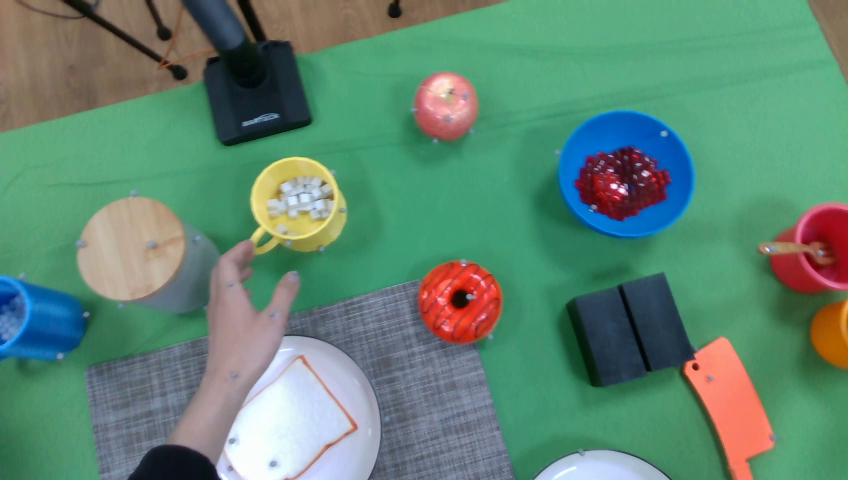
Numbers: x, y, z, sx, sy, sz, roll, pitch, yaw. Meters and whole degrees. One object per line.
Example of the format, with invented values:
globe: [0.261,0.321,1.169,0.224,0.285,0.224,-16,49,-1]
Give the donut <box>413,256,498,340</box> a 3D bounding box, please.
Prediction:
donut: [0.036,0.066,0.699,0.099,0.048,0.098,0,77,0]

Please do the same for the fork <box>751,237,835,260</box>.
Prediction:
fork: [0.405,0.007,0.660,0.209,0.018,0.028,3,72,-42]

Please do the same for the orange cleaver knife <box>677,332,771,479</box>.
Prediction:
orange cleaver knife: [0.349,0.210,0.679,0.077,0.012,0.210,-13,76,-8]

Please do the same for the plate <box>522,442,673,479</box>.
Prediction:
plate: [0.186,0.322,0.645,0.209,0.038,0.208,0,77,1]

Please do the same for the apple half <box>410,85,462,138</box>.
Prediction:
apple half: [0.008,-0.146,0.736,0.081,0.081,0.033,40,75,10]

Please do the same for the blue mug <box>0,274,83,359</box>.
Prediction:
blue mug: [-0.461,0.098,0.671,0.116,0.106,0.082,-40,79,-8]

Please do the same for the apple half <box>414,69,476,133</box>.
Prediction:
apple half: [0.032,-0.175,0.744,0.080,0.075,0.053,40,75,13]

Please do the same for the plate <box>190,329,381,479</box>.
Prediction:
plate: [-0.150,0.205,0.673,0.208,0.039,0.206,0,77,1]

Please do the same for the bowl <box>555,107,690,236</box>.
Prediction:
bowl: [0.223,-0.070,0.715,0.151,0.077,0.150,0,77,1]

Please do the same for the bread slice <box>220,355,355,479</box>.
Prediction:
bread slice: [-0.158,0.209,0.674,0.131,0.019,0.104,-41,79,-9]

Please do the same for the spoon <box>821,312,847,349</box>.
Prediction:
spoon: [0.517,0.080,0.623,0.022,0.193,0.041,15,64,-32]

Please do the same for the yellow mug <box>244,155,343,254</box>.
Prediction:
yellow mug: [-0.162,-0.032,0.717,0.099,0.064,0.131,42,81,10]

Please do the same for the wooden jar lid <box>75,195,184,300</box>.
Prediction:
wooden jar lid: [-0.296,0.008,0.615,0.108,0.021,0.108,0,75,2]

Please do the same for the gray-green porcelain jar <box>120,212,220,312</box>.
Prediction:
gray-green porcelain jar: [-0.294,0.023,0.675,0.106,0.127,0.105,0,76,1]
